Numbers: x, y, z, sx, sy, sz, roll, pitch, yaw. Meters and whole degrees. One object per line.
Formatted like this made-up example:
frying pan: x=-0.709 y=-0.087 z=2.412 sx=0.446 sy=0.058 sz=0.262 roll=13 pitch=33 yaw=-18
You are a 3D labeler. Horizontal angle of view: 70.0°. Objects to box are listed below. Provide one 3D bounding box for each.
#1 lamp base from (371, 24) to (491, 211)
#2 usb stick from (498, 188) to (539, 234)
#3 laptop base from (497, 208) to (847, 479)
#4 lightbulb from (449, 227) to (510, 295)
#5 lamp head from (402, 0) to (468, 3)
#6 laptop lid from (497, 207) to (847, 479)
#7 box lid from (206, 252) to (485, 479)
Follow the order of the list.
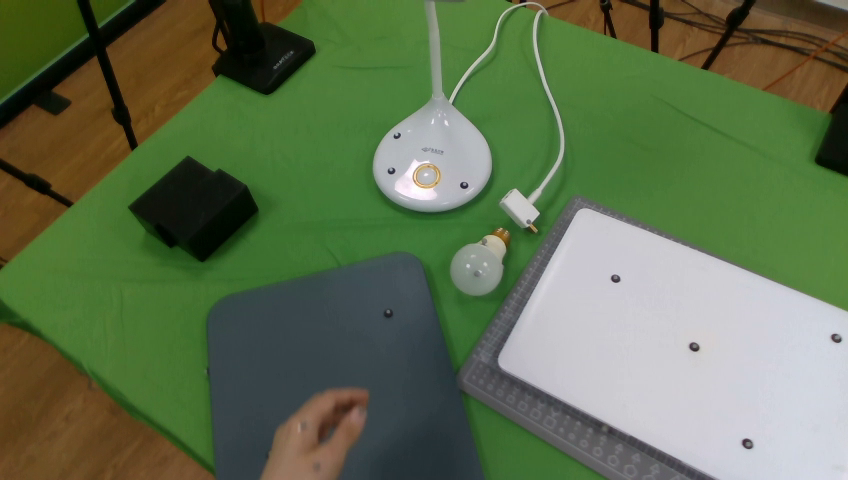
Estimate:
lamp base: x=0.005 y=-0.157 z=0.749 sx=0.160 sy=0.182 sz=0.177 roll=1 pitch=55 yaw=5
usb stick: x=0.120 y=-0.034 z=0.745 sx=0.027 sy=0.021 sz=0.059 roll=-44 pitch=98 yaw=-16
laptop base: x=0.284 y=0.118 z=0.649 sx=0.352 sy=0.023 sz=0.234 roll=24 pitch=66 yaw=18
lightbulb: x=0.071 y=0.020 z=0.710 sx=0.059 sy=0.060 sz=0.107 roll=25 pitch=47 yaw=19
lamp head: x=-0.014 y=-0.254 z=0.483 sx=0.112 sy=0.123 sz=0.112 roll=6 pitch=13 yaw=-1
laptop lid: x=0.282 y=0.113 z=0.638 sx=0.354 sy=0.013 sz=0.241 roll=26 pitch=65 yaw=19
box lid: x=-0.090 y=0.187 z=0.638 sx=0.263 sy=0.015 sz=0.367 roll=-14 pitch=58 yaw=-4
